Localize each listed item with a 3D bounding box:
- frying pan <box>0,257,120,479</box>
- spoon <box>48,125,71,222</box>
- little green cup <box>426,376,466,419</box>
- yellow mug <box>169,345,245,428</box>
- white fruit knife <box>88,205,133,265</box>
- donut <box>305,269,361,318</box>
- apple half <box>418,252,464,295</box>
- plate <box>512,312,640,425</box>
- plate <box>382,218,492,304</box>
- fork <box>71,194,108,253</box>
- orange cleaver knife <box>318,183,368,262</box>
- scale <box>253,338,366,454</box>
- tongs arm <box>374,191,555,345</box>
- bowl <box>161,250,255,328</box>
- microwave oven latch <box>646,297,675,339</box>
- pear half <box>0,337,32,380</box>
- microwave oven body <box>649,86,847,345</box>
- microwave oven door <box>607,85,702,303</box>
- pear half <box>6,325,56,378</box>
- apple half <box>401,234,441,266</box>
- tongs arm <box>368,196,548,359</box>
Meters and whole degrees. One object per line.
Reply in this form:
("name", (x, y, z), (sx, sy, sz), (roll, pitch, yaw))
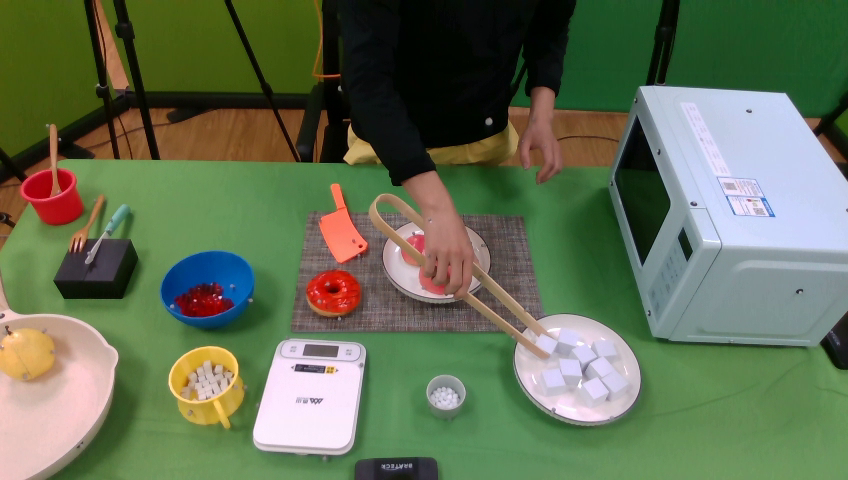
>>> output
("frying pan", (-0.647, 0.164, 0.936), (0.307, 0.103, 0.485), (-19, 58, -22))
("spoon", (-0.718, -0.131, 1.188), (0.041, 0.021, 0.193), (-3, 90, -7))
("little green cup", (0.033, 0.248, 0.950), (0.061, 0.039, 0.061), (2, 46, -2))
("yellow mug", (-0.322, 0.230, 0.922), (0.100, 0.064, 0.130), (-24, 53, -25))
("white fruit knife", (-0.584, -0.013, 1.129), (0.016, 0.027, 0.206), (0, 31, -5))
("donut", (-0.160, 0.095, 1.075), (0.099, 0.048, 0.098), (4, 45, -3))
("apple half", (0.033, 0.055, 1.110), (0.081, 0.053, 0.074), (-31, 59, -28))
("plate", (0.246, 0.213, 0.999), (0.208, 0.039, 0.206), (2, 46, -2))
("plate", (0.023, 0.042, 1.143), (0.209, 0.038, 0.208), (2, 46, -2))
("fork", (-0.634, -0.036, 1.158), (0.028, 0.019, 0.206), (-8, 31, -8))
("orange cleaver knife", (-0.173, -0.037, 1.218), (0.077, 0.012, 0.210), (-16, 51, -12))
("scale", (-0.175, 0.236, 0.951), (0.149, 0.032, 0.199), (4, 46, -1))
("tongs arm", (0.066, 0.053, 1.005), (0.385, 0.026, 0.050), (44, 54, -2))
("bowl", (-0.362, 0.098, 1.039), (0.151, 0.077, 0.150), (2, 45, -2))
("microwave oven latch", (0.412, 0.134, 1.061), (0.030, 0.029, 0.078), (4, 45, 1))
("pear half", (-0.631, 0.184, 0.921), (0.070, 0.088, 0.031), (29, 49, 19))
("microwave oven body", (0.567, -0.053, 1.118), (0.326, 0.261, 0.439), (2, 45, -1))
("microwave oven door", (0.423, -0.094, 1.140), (0.039, 0.245, 0.353), (2, 46, -1))
("pear half", (-0.608, 0.158, 0.935), (0.076, 0.110, 0.056), (31, 51, 20))
("apple half", (-0.005, 0.014, 1.159), (0.081, 0.033, 0.081), (5, 44, -5))
("tongs arm", (0.055, 0.068, 0.991), (0.388, 0.028, 0.028), (41, 58, -5))
